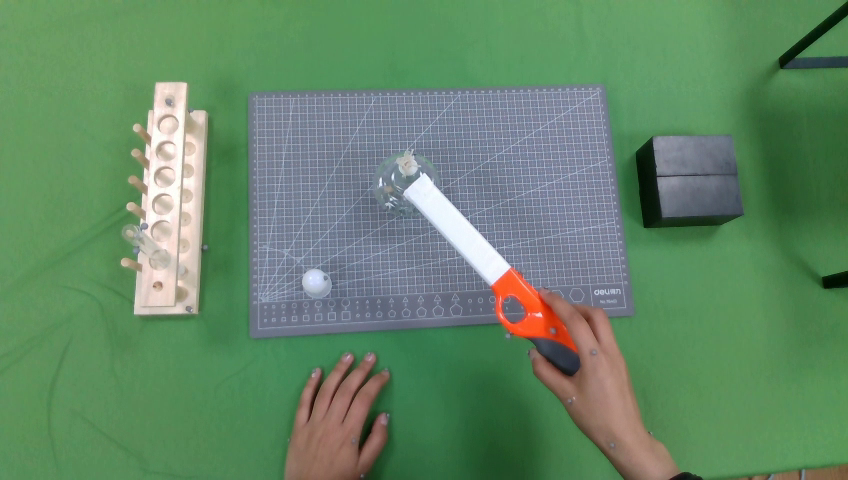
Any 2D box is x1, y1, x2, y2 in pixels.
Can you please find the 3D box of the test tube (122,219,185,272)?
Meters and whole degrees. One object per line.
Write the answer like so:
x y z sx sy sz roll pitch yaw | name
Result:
-0.267 0.009 0.607 0.017 0.151 0.017 2 74 -5 | test tube

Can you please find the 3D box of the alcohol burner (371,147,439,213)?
-0.021 -0.072 0.677 0.078 0.119 0.077 1 79 -4 | alcohol burner

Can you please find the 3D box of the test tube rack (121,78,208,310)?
-0.289 -0.048 0.667 0.067 0.085 0.241 -1 79 -4 | test tube rack

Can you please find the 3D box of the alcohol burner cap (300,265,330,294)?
-0.124 0.043 0.681 0.034 0.048 0.033 1 78 -5 | alcohol burner cap

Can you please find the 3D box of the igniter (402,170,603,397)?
0.080 0.043 0.600 0.057 0.025 0.276 -42 89 -2 | igniter
